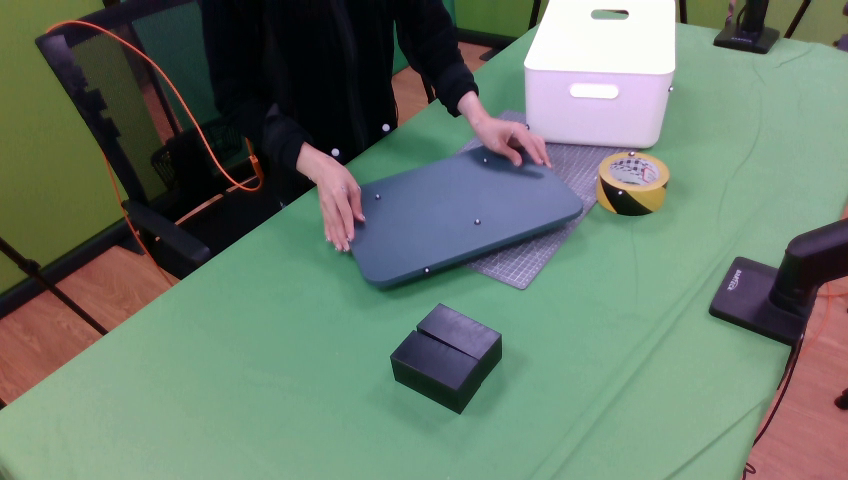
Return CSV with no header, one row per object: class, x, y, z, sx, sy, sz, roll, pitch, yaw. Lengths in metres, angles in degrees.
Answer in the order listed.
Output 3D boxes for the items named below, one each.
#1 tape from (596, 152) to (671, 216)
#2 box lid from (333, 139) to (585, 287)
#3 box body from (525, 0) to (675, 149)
tape,0.349,-0.095,1.009,0.117,0.053,0.116,-3,42,3
box lid,0.046,-0.058,1.000,0.372,0.015,0.261,-19,40,-11
box body,0.356,-0.342,1.212,0.253,0.161,0.363,7,42,17
